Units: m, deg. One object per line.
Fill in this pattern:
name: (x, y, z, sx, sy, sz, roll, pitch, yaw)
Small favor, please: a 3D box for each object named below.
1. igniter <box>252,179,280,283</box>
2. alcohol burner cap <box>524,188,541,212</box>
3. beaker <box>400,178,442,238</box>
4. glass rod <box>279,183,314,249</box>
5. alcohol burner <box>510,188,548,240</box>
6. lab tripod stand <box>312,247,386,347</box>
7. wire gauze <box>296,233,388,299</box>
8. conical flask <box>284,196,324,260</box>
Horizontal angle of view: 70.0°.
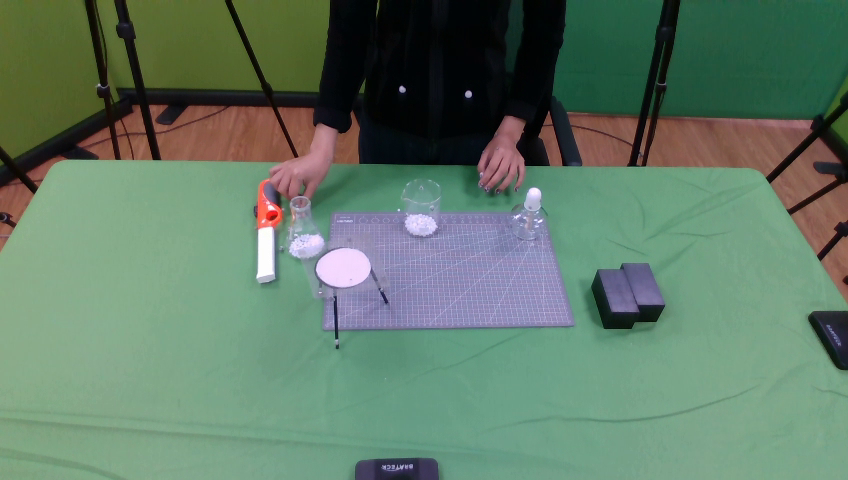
igniter: (-0.312, -0.027, 1.197, 0.057, 0.025, 0.274, -12, 47, -1)
alcohol burner cap: (0.212, -0.081, 1.177, 0.034, 0.048, 0.033, -2, 54, 2)
beaker: (-0.009, -0.059, 1.200, 0.084, 0.101, 0.073, -14, 48, -17)
glass rod: (-0.258, -0.052, 1.238, 0.008, 0.008, 0.198, 10, 46, 6)
alcohol burner: (0.211, -0.057, 1.204, 0.078, 0.120, 0.077, 1, 47, -1)
lab tripod stand: (-0.134, 0.085, 1.028, 0.148, 0.132, 0.147, 1, 45, -1)
wire gauze: (-0.133, 0.041, 0.977, 0.125, 0.011, 0.120, -12, 47, -16)
conical flask: (-0.230, -0.026, 1.137, 0.075, 0.122, 0.075, 2, 45, -2)
